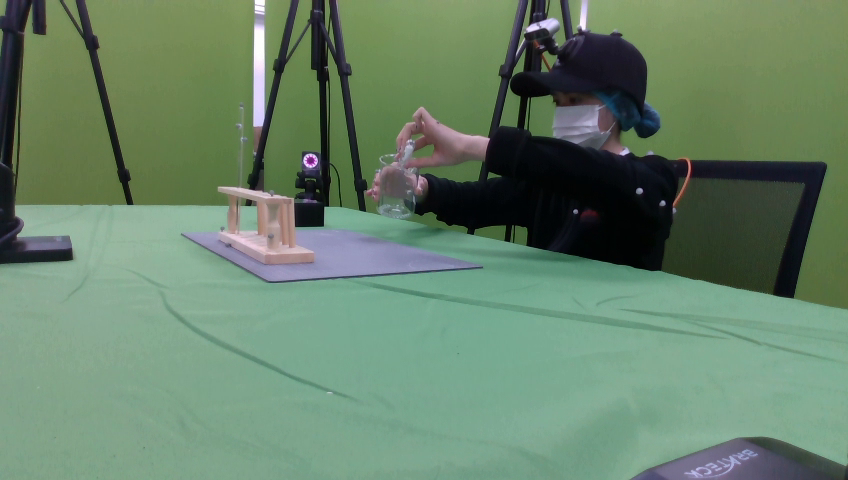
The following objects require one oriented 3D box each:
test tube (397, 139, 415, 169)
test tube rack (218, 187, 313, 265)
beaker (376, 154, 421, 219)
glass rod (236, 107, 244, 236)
[{"bbox_3d":[-0.030,-0.136,0.967,0.017,0.017,0.150,2,-6,-7],"label":"test tube"},{"bbox_3d":[-0.235,-0.027,0.872,0.067,0.085,0.241,-2,8,-32],"label":"test tube rack"},{"bbox_3d":[-0.046,-0.092,1.066,0.074,0.100,0.083,-5,27,-25],"label":"beaker"},{"bbox_3d":[-0.282,-0.103,0.924,0.008,0.199,0.008,2,2,0],"label":"glass rod"}]
